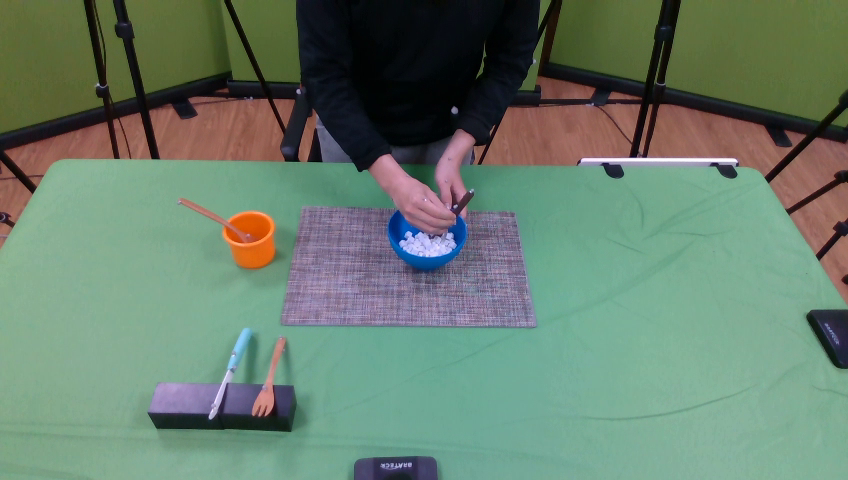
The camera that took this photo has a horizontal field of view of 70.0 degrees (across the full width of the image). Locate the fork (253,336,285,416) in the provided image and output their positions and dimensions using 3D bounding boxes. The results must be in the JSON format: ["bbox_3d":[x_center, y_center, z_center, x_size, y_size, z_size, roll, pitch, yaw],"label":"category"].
[{"bbox_3d":[-0.235,0.206,0.938,0.028,0.019,0.206,-3,26,-3],"label":"fork"}]

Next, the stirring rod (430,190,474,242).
[{"bbox_3d":[0.049,-0.041,1.106,0.014,0.176,0.006,13,56,-18],"label":"stirring rod"}]

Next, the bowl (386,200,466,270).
[{"bbox_3d":[0.002,0.004,1.150,0.151,0.077,0.150,2,46,-2],"label":"bowl"}]

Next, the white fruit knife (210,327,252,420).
[{"bbox_3d":[-0.298,0.200,0.937,0.016,0.027,0.206,0,30,0],"label":"white fruit knife"}]

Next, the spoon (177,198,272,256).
[{"bbox_3d":[-0.361,-0.025,1.106,0.021,0.195,0.041,-32,37,28],"label":"spoon"}]
